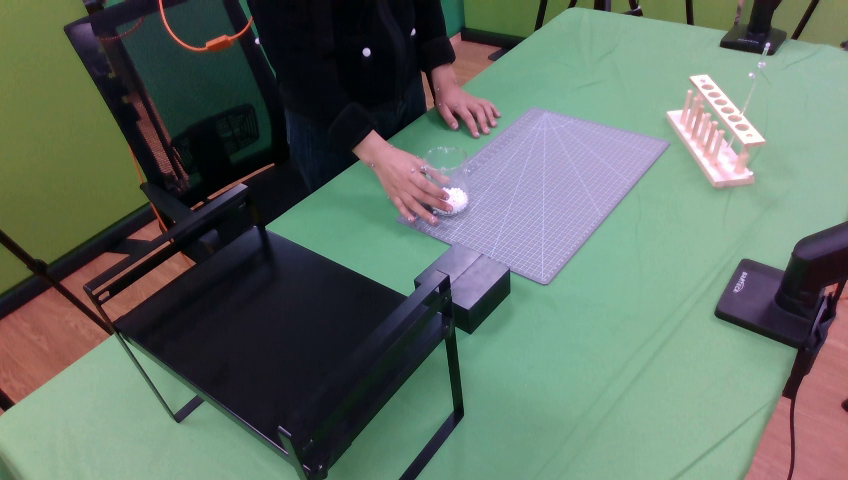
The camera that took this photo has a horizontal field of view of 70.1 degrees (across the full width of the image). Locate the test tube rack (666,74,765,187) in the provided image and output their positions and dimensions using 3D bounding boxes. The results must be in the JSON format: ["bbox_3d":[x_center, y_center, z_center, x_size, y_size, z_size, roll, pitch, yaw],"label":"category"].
[{"bbox_3d":[0.512,-0.201,1.082,0.067,0.085,0.241,-6,41,2],"label":"test tube rack"}]

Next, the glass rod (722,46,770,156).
[{"bbox_3d":[0.533,-0.225,1.006,0.008,0.200,0.008,1,41,-1],"label":"glass rod"}]

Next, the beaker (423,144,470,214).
[{"bbox_3d":[0.040,-0.102,1.023,0.074,0.101,0.083,-3,41,4],"label":"beaker"}]
